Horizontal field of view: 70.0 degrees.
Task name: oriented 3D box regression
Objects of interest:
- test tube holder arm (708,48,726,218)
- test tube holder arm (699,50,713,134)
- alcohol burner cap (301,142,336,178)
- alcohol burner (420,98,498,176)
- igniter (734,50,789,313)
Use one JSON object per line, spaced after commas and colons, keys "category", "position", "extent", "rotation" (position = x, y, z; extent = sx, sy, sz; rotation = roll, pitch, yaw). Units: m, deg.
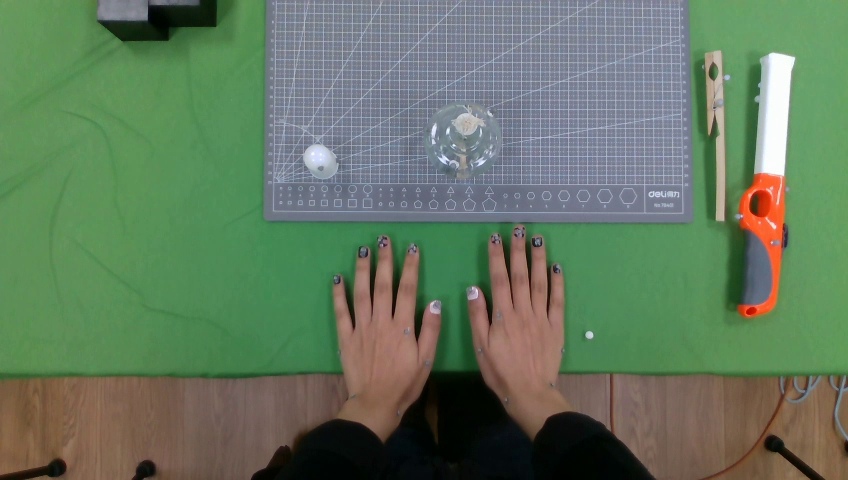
{"category": "test tube holder arm", "position": [0.308, -0.112, 0.639], "extent": [0.013, 0.015, 0.178], "rotation": [-5, 87, 33]}
{"category": "test tube holder arm", "position": [0.301, -0.157, 0.644], "extent": [0.010, 0.015, 0.087], "rotation": [-4, 88, 33]}
{"category": "alcohol burner cap", "position": [-0.109, -0.083, 0.615], "extent": [0.034, 0.048, 0.034], "rotation": [0, 87, -1]}
{"category": "alcohol burner", "position": [0.035, -0.103, 0.584], "extent": [0.078, 0.119, 0.077], "rotation": [0, 85, -2]}
{"category": "igniter", "position": [0.355, -0.060, 0.634], "extent": [0.057, 0.025, 0.276], "rotation": [7, 87, -11]}
